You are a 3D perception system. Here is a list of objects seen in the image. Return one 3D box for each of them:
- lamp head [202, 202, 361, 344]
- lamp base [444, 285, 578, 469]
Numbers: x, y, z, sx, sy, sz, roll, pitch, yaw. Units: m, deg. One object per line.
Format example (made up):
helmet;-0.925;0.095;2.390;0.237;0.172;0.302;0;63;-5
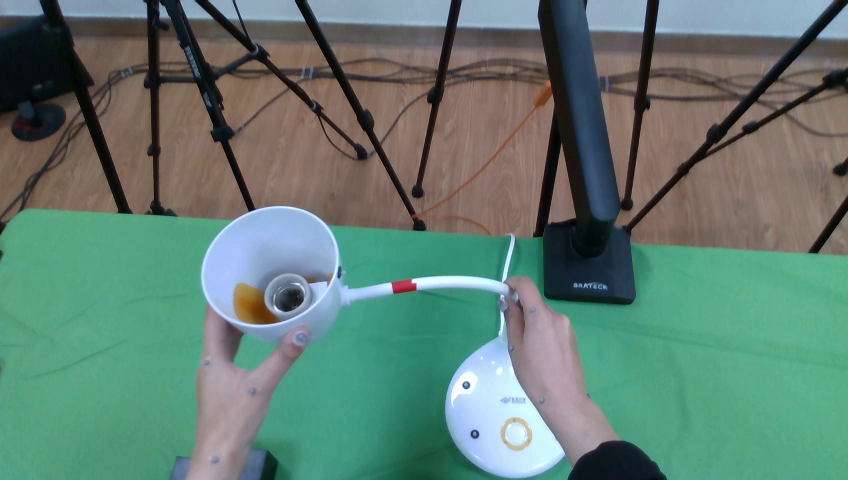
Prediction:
lamp head;-0.117;0.041;0.540;0.112;0.124;0.111;-4;62;8
lamp base;0.099;0.143;0.678;0.161;0.182;0.177;-10;55;-4
